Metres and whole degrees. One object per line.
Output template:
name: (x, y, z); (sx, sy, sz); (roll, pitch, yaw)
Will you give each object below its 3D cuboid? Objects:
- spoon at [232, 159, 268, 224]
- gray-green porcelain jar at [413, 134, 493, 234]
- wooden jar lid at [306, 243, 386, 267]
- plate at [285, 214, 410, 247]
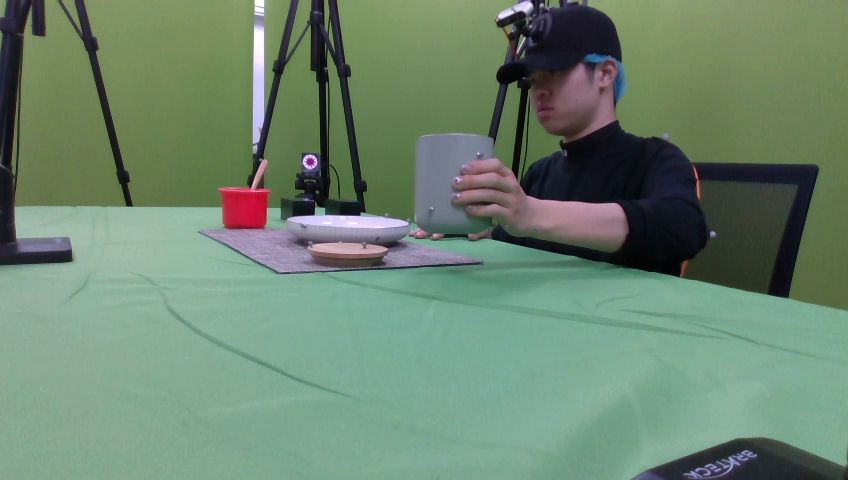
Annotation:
spoon: (-0.342, -0.101, 1.218); (0.041, 0.021, 0.193); (3, 51, 4)
gray-green porcelain jar: (0.038, -0.071, 0.802); (0.106, 0.126, 0.106); (0, 1, 0)
wooden jar lid: (-0.105, 0.020, 0.816); (0.108, 0.020, 0.108); (1, 7, 0)
plate: (-0.127, -0.015, 1.012); (0.208, 0.039, 0.207); (3, 7, 0)
